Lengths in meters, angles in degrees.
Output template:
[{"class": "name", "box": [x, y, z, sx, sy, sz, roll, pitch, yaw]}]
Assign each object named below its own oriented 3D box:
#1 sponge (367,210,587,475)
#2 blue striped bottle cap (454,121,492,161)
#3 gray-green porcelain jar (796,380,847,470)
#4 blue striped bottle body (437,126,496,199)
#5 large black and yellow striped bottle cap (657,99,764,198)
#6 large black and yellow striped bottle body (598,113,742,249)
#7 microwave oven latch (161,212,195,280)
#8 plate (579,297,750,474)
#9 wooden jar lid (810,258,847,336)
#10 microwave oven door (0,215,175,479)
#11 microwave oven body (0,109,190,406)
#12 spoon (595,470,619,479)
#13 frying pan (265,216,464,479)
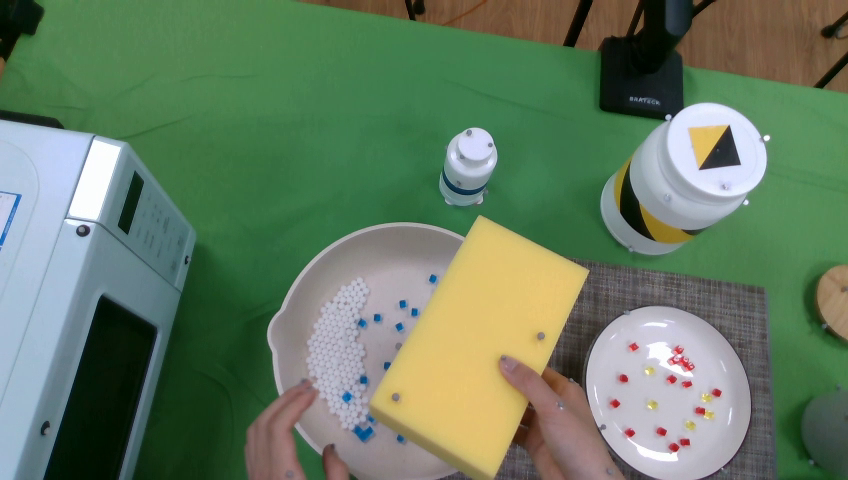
[{"class": "sponge", "box": [0.051, 0.089, 0.555, 0.118, 0.061, 0.206, 27, 68, 11]}, {"class": "blue striped bottle cap", "box": [0.058, -0.116, 0.712, 0.044, 0.021, 0.044, 2, 69, -4]}, {"class": "gray-green porcelain jar", "box": [0.517, 0.216, 0.708, 0.106, 0.127, 0.105, 2, 72, -5]}, {"class": "blue striped bottle body", "box": [0.053, -0.101, 0.762, 0.063, 0.121, 0.062, 2, 72, -5]}, {"class": "large black and yellow striped bottle cap", "box": [0.315, -0.102, 0.666, 0.115, 0.019, 0.114, 2, 71, -5]}, {"class": "large black and yellow striped bottle body", "box": [0.307, -0.076, 0.748, 0.131, 0.185, 0.130, 2, 72, -5]}, {"class": "microwave oven latch", "box": [-0.294, 0.006, 0.715, 0.030, 0.029, 0.078, 11, 72, -3]}, {"class": "plate", "box": [0.288, 0.175, 0.740, 0.209, 0.038, 0.208, 2, 73, -5]}, {"class": "wooden jar lid", "box": [0.569, 0.078, 0.813, 0.108, 0.021, 0.108, 2, 74, -5]}, {"class": "microwave oven door", "box": [-0.319, 0.180, 0.550, 0.039, 0.245, 0.353, 9, 71, -4]}, {"class": "microwave oven body", "box": [-0.455, 0.119, 0.561, 0.326, 0.261, 0.439, 9, 72, -3]}, {"class": "spoon", "box": [0.261, 0.345, 0.693, 0.041, 0.022, 0.193, -36, 81, -33]}, {"class": "frying pan", "box": [-0.036, 0.210, 0.661, 0.307, 0.103, 0.484, 7, 64, -1]}]
